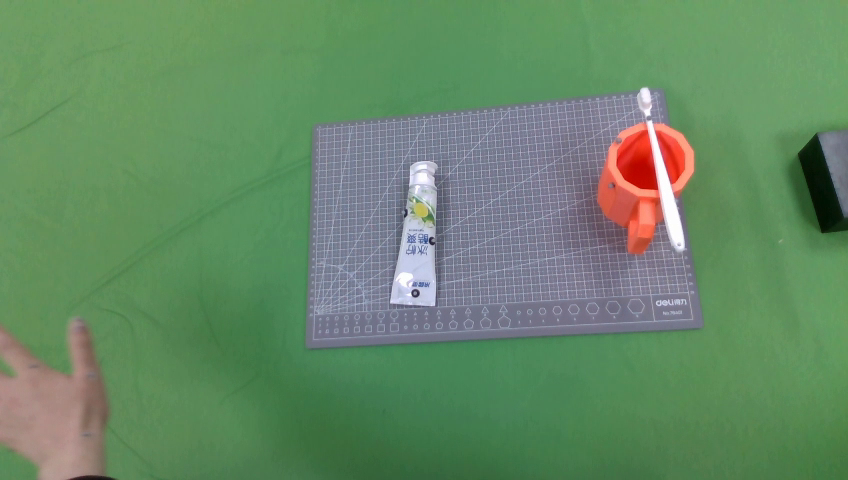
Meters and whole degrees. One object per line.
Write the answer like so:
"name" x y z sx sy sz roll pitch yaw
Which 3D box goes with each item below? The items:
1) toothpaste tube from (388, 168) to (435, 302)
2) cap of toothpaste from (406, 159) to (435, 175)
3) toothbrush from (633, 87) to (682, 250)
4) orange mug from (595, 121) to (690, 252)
"toothpaste tube" -0.011 -0.008 0.726 0.055 0.035 0.164 1 77 14
"cap of toothpaste" -0.004 -0.087 0.744 0.037 0.037 0.011 -10 69 5
"toothbrush" 0.238 -0.077 0.617 0.014 0.017 0.180 -7 72 3
"orange mug" 0.237 -0.054 0.666 0.083 0.101 0.125 4 69 10
